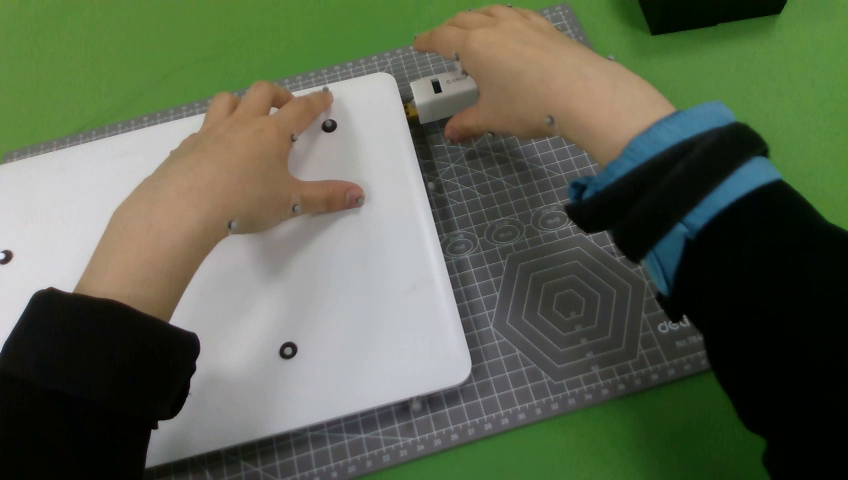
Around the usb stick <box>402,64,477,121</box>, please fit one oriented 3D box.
[{"bbox_3d":[0.007,-0.101,0.425,0.059,0.027,0.021,-16,64,3],"label":"usb stick"}]

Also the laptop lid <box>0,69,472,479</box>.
[{"bbox_3d":[-0.166,0.020,0.385,0.357,0.013,0.239,-13,66,-1],"label":"laptop lid"}]

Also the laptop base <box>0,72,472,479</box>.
[{"bbox_3d":[-0.166,0.023,0.397,0.354,0.023,0.233,-14,68,-1],"label":"laptop base"}]
